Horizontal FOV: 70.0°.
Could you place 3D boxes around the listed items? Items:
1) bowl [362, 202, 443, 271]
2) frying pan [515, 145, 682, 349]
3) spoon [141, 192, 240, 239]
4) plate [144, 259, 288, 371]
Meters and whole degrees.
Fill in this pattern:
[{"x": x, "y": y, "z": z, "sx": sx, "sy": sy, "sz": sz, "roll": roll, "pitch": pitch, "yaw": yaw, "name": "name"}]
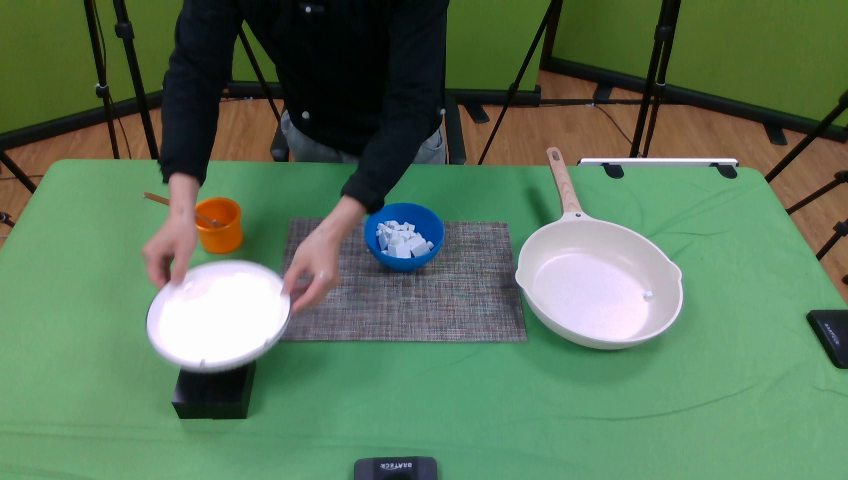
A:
[{"x": -0.041, "y": 0.006, "z": 1.145, "sx": 0.151, "sy": 0.077, "sz": 0.150, "roll": 2, "pitch": 46, "yaw": -2, "name": "bowl"}, {"x": 0.303, "y": -0.004, "z": 1.168, "sx": 0.307, "sy": 0.103, "sz": 0.484, "roll": -1, "pitch": 55, "yaw": -7, "name": "frying pan"}, {"x": -0.428, "y": -0.048, "z": 1.123, "sx": 0.021, "sy": 0.195, "sz": 0.041, "roll": -39, "pitch": 44, "yaw": 21, "name": "spoon"}, {"x": -0.311, "y": 0.116, "z": 0.922, "sx": 0.208, "sy": 0.039, "sz": 0.206, "roll": 3, "pitch": 43, "yaw": -3, "name": "plate"}]
